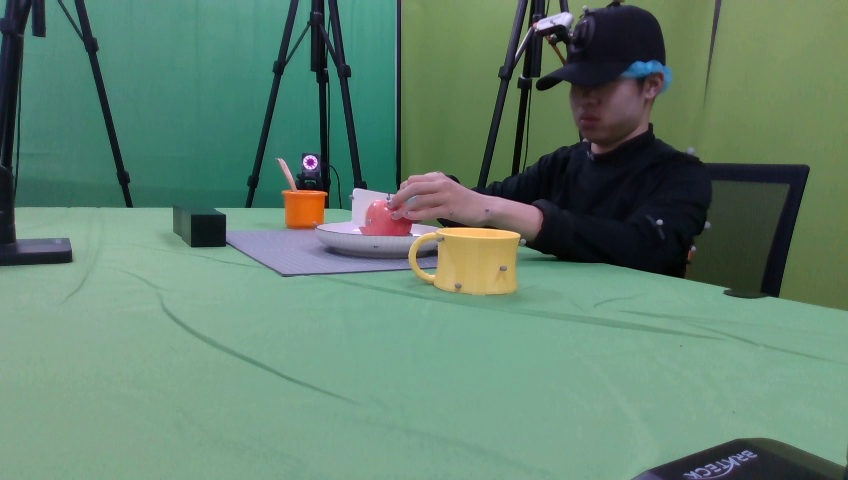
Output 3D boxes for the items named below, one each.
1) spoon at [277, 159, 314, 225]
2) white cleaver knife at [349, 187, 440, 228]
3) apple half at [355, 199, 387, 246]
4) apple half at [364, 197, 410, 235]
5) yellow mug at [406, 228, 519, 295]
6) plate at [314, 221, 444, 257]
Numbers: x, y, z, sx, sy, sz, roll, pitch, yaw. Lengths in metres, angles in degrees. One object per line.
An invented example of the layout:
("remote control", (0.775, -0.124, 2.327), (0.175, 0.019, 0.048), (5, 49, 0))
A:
("spoon", (-0.272, -0.103, 1.260), (0.042, 0.193, 0.021), (-5, -34, -33))
("white cleaver knife", (-0.046, -0.048, 1.001), (0.021, 0.066, 0.288), (1, 2, 28))
("apple half", (-0.088, -0.027, 0.947), (0.032, 0.081, 0.081), (0, 5, 26))
("apple half", (-0.050, -0.026, 0.929), (0.053, 0.074, 0.081), (14, 9, 24))
("yellow mug", (0.044, 0.022, 0.707), (0.131, 0.064, 0.100), (2, 7, 5))
("plate", (-0.066, -0.002, 0.948), (0.209, 0.038, 0.209), (3, 7, 0))
